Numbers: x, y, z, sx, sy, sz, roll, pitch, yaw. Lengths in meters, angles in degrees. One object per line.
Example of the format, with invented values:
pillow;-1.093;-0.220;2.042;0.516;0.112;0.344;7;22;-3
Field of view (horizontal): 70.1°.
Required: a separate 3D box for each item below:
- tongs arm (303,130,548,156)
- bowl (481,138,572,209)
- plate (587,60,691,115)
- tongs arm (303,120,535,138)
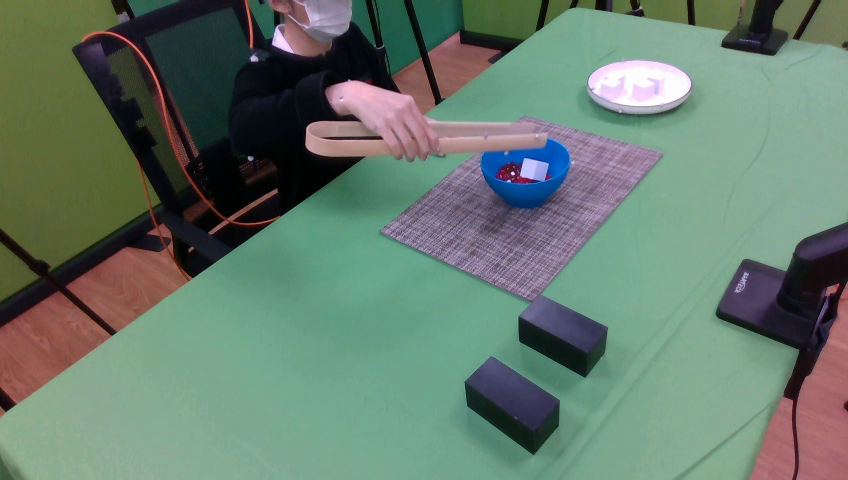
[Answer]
tongs arm;0.015;-0.151;0.907;0.387;0.026;0.050;-8;41;-25
bowl;0.172;-0.106;1.025;0.151;0.077;0.150;-4;40;4
plate;0.445;-0.313;1.263;0.209;0.038;0.208;-5;40;4
tongs arm;0.005;-0.168;0.927;0.390;0.028;0.028;-6;44;-23
